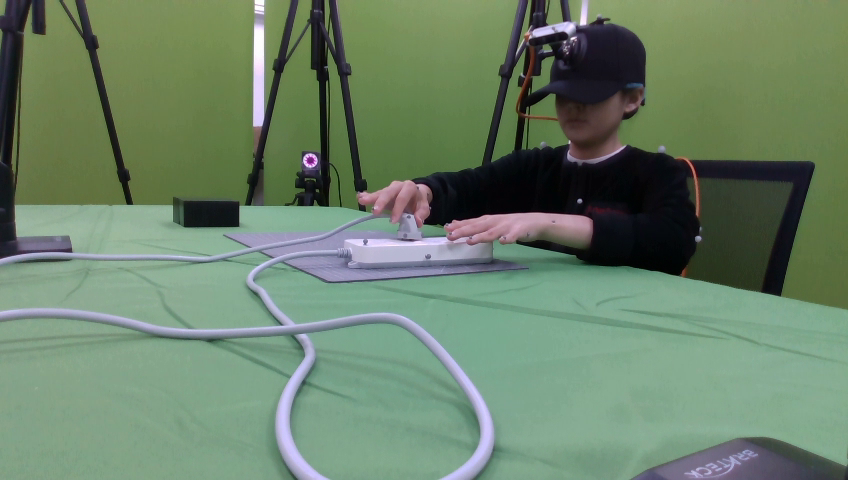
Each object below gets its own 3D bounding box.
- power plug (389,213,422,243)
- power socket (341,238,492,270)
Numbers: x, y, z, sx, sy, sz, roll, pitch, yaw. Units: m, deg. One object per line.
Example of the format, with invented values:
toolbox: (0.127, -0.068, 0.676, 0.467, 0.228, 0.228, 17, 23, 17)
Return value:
power plug: (-0.026, -0.010, 0.848, 0.035, 0.052, 0.072, 1, 9, -16)
power socket: (-0.007, 0.017, 0.831, 0.228, 0.032, 0.072, -1, 9, -29)
